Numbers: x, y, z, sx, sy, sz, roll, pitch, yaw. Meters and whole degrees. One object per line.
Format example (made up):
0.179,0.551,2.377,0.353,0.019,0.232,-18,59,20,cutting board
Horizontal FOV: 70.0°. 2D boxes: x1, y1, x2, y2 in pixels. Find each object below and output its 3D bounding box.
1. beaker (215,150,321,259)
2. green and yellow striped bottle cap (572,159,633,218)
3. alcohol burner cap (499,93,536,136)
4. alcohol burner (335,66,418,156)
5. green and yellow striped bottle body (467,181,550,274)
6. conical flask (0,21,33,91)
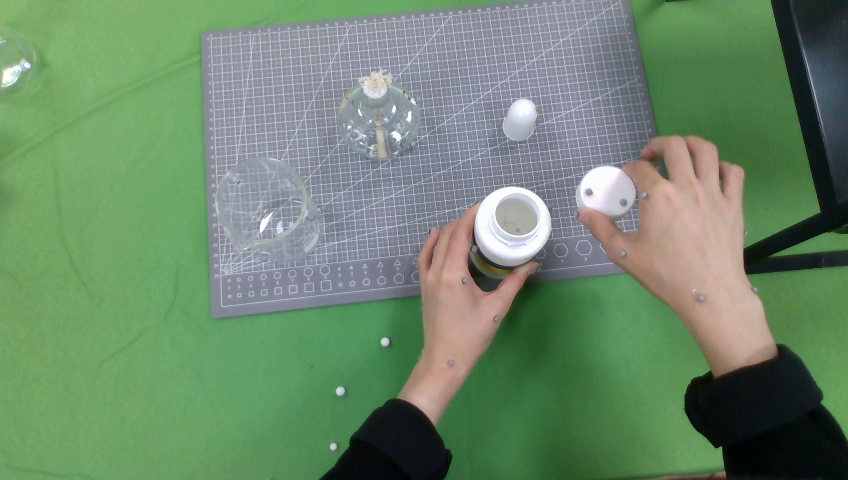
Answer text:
-0.134,-0.023,0.538,0.074,0.100,0.083,22,79,5,beaker
0.142,-0.041,0.480,0.045,0.020,0.045,0,77,2,green and yellow striped bottle cap
0.093,-0.125,0.591,0.034,0.048,0.033,0,77,0,alcohol burner cap
-0.044,-0.123,0.553,0.078,0.119,0.077,1,76,-2,alcohol burner
0.072,-0.010,0.526,0.063,0.120,0.063,0,77,0,green and yellow striped bottle body
-0.437,-0.198,0.564,0.075,0.122,0.075,0,77,0,conical flask
